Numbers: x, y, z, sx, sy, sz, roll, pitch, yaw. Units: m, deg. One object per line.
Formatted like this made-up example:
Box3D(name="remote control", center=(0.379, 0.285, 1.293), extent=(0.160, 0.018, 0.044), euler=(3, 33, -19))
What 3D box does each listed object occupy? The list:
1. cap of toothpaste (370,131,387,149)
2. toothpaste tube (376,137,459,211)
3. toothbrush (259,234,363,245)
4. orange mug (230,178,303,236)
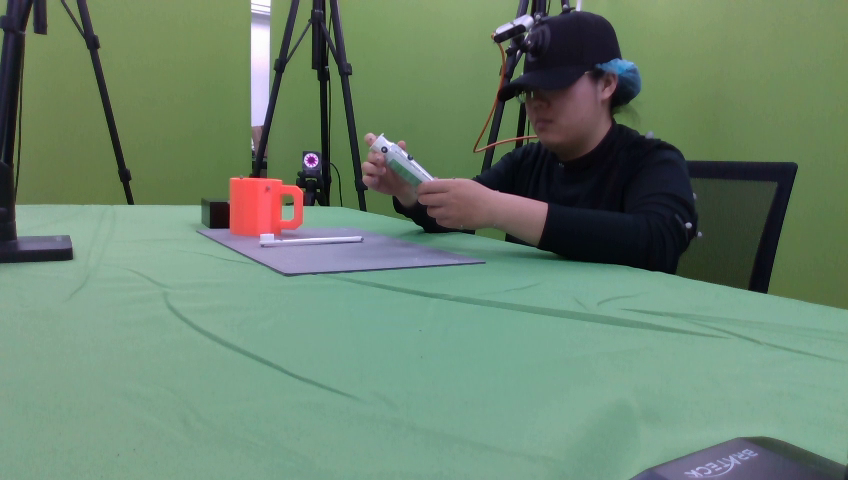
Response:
Box3D(name="cap of toothpaste", center=(-0.071, -0.158, 0.958), extent=(0.011, 0.037, 0.037), euler=(42, 4, -6))
Box3D(name="toothpaste tube", center=(-0.013, -0.107, 0.970), extent=(0.165, 0.034, 0.055), euler=(41, -15, -11))
Box3D(name="toothbrush", center=(-0.175, -0.002, 0.958), extent=(0.183, 0.016, 0.014), euler=(-1, -4, -39))
Box3D(name="orange mug", center=(-0.275, -0.060, 1.058), extent=(0.126, 0.101, 0.083), euler=(-2, 8, -5))
